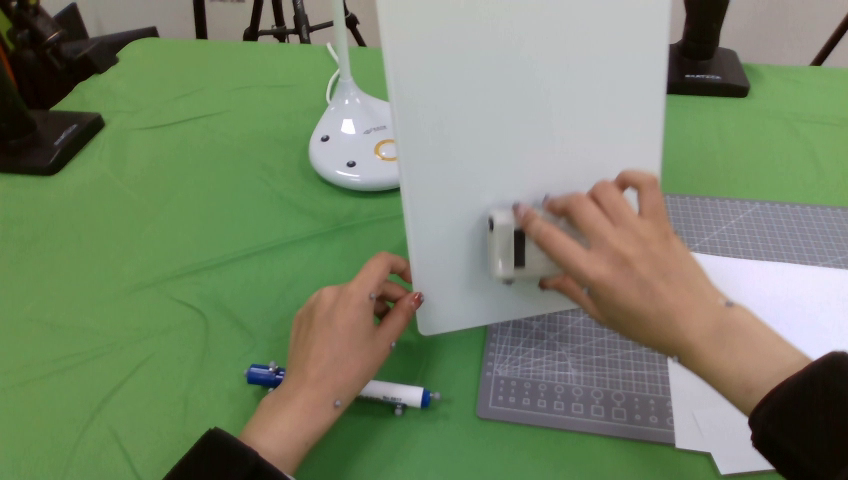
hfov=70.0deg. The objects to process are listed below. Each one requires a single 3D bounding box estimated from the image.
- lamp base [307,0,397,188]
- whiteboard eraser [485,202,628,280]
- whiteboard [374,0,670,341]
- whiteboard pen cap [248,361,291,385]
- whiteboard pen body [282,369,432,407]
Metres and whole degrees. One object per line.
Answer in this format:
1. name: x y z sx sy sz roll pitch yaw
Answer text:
1. lamp base: -0.070 -0.176 0.675 0.161 0.182 0.177 -30 47 -26
2. whiteboard eraser: 0.105 0.001 0.486 0.113 0.056 0.041 -4 14 -8
3. whiteboard: 0.075 -0.096 0.534 0.217 0.307 0.142 -9 24 -6
4. whiteboard pen cap: -0.122 0.107 0.485 0.033 0.018 0.018 6 44 5
5. whiteboard pen body: -0.064 0.115 0.477 0.140 0.017 0.017 6 44 7
